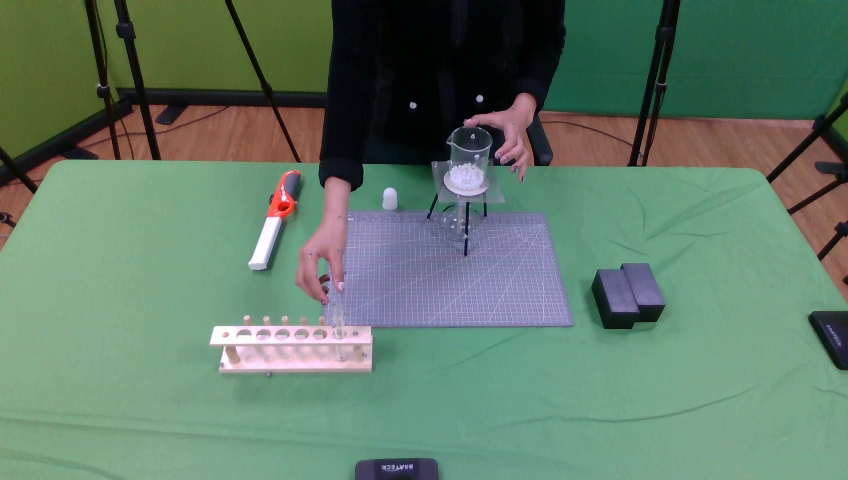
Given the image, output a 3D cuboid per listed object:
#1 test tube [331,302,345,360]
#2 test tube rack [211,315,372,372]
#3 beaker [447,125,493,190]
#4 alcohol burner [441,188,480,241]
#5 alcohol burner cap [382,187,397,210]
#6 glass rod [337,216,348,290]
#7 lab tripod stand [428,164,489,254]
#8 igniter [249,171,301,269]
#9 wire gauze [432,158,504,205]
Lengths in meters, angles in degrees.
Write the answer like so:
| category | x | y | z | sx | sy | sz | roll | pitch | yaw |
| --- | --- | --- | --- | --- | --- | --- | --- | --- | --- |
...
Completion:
| category | x | y | z | sx | sy | sz | roll | pitch | yaw |
| --- | --- | --- | --- | --- | --- | --- | --- | --- | --- |
| test tube | -0.132 | 0.144 | 0.937 | 0.017 | 0.151 | 0.017 | 2 | 49 | -3 |
| test tube rack | -0.208 | 0.164 | 0.982 | 0.242 | 0.085 | 0.066 | 1 | 46 | -4 |
| beaker | 0.079 | -0.148 | 1.106 | 0.084 | 0.101 | 0.073 | -3 | 47 | -7 |
| alcohol burner | 0.072 | -0.055 | 1.189 | 0.078 | 0.120 | 0.077 | 1 | 47 | -1 |
| alcohol burner cap | -0.072 | -0.090 | 1.266 | 0.034 | 0.048 | 0.033 | 2 | 47 | -2 |
| glass rod | -0.158 | 0.021 | 1.171 | 0.008 | 0.008 | 0.198 | 1 | 44 | -2 |
| lab tripod stand | 0.078 | -0.068 | 1.188 | 0.148 | 0.132 | 0.147 | 3 | 47 | -3 |
| igniter | -0.297 | -0.049 | 1.220 | 0.057 | 0.025 | 0.275 | -1 | 45 | 9 |
| wire gauze | 0.081 | -0.111 | 1.138 | 0.125 | 0.011 | 0.120 | 0 | 48 | -7 |
